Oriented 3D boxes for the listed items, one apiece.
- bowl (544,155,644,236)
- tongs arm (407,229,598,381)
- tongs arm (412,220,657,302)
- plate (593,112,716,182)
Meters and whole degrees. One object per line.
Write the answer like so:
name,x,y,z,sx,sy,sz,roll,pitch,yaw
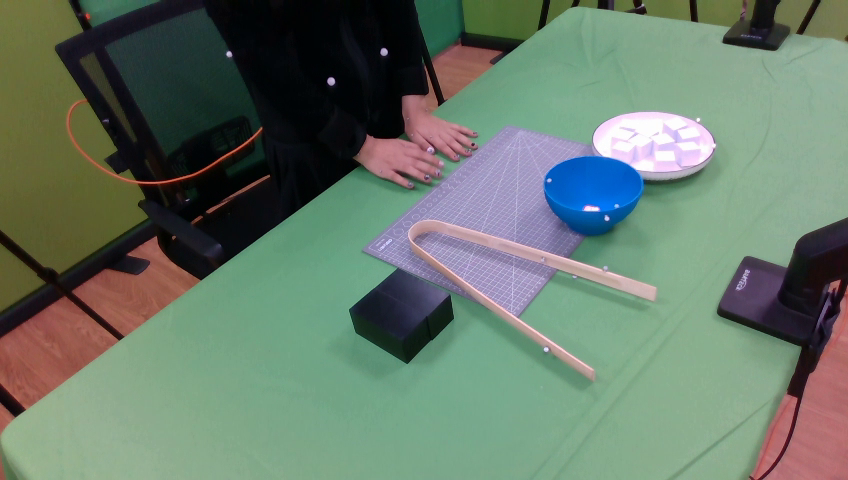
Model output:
bowl,0.266,-0.061,0.957,0.151,0.077,0.150,-5,41,5
tongs arm,0.092,0.081,0.862,0.028,0.028,0.384,-38,47,-20
tongs arm,0.149,0.032,0.906,0.382,0.026,0.051,20,52,30
plate,0.408,-0.163,1.084,0.207,0.039,0.206,-4,40,4
